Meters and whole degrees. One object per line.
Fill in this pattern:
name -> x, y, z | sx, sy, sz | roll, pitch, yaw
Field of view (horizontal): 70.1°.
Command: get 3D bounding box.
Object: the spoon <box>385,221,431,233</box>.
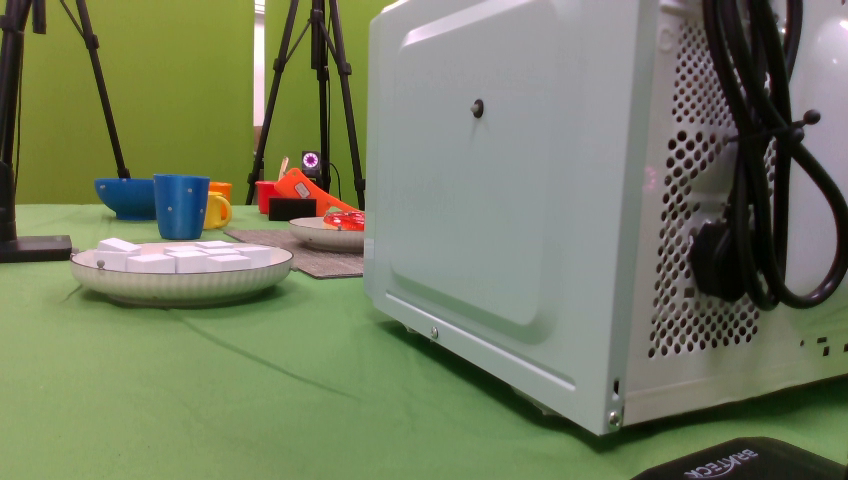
spoon -> -0.024, -0.029, 1.188 | 0.041, 0.021, 0.194 | -15, -1, 22

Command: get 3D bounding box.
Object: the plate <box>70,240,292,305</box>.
plate -> -0.242, 0.031, 0.618 | 0.208, 0.039, 0.207 | 2, 8, 0

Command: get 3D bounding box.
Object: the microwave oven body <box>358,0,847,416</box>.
microwave oven body -> 0.211, -0.047, 0.474 | 0.444, 0.260, 0.324 | -1, 7, -28

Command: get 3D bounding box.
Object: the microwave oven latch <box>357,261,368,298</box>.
microwave oven latch -> -0.019, 0.033, 0.530 | 0.079, 0.029, 0.030 | 0, 7, -26

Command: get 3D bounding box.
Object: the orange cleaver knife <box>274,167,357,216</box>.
orange cleaver knife -> -0.238, -0.090, 1.381 | 0.212, 0.077, 0.012 | 31, 0, -19

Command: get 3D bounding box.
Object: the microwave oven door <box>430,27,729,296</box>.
microwave oven door -> 0.177, -0.073, 0.628 | 0.358, 0.243, 0.039 | -1, 8, -26

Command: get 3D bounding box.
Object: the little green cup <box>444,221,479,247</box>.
little green cup -> 0.064, -0.011, 1.035 | 0.061, 0.038, 0.061 | 1, 9, 0

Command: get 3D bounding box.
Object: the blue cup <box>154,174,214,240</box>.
blue cup -> -0.390, -0.053, 0.978 | 0.093, 0.100, 0.092 | 3, 6, 0

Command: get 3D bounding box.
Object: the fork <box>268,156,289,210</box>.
fork -> -0.360, -0.144, 1.508 | 0.028, 0.018, 0.207 | 1, 49, 0

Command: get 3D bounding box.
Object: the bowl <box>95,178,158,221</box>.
bowl -> -0.576, -0.081, 1.217 | 0.151, 0.077, 0.151 | 3, 7, 0

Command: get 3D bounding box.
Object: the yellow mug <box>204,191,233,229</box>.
yellow mug -> -0.415, -0.057, 1.131 | 0.130, 0.064, 0.100 | 6, 8, 16

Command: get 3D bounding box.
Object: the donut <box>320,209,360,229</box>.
donut -> -0.115, -0.023, 0.961 | 0.099, 0.048, 0.099 | 5, 8, 0

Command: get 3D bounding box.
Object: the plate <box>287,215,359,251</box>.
plate -> -0.111, -0.012, 0.960 | 0.209, 0.038, 0.209 | 3, 8, 0
